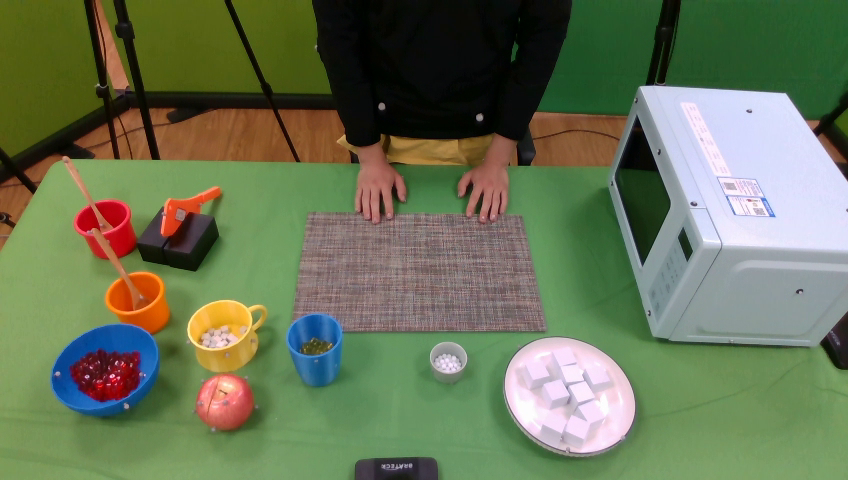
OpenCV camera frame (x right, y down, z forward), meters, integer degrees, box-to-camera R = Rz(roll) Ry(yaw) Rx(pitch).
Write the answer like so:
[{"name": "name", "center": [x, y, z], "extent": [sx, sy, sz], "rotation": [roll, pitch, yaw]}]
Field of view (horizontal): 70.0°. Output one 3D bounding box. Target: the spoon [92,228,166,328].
[{"name": "spoon", "center": [-0.495, 0.063, 1.014], "extent": [0.041, 0.194, 0.021], "rotation": [-34, 13, -31]}]

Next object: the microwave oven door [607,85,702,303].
[{"name": "microwave oven door", "center": [0.423, -0.094, 1.141], "extent": [0.039, 0.245, 0.353], "rotation": [2, 46, -1]}]

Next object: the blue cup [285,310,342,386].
[{"name": "blue cup", "center": [-0.170, 0.179, 0.958], "extent": [0.093, 0.101, 0.092], "rotation": [1, 44, -1]}]

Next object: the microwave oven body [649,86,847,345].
[{"name": "microwave oven body", "center": [0.568, -0.053, 1.118], "extent": [0.326, 0.261, 0.439], "rotation": [2, 45, -1]}]

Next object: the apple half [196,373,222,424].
[{"name": "apple half", "center": [-0.322, 0.239, 0.907], "extent": [0.033, 0.081, 0.081], "rotation": [7, 46, -1]}]

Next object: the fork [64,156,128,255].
[{"name": "fork", "center": [-0.614, -0.064, 1.130], "extent": [0.028, 0.018, 0.207], "rotation": [-29, 97, -17]}]

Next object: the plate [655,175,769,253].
[{"name": "plate", "center": [0.555, -0.046, 1.183], "extent": [0.209, 0.038, 0.208], "rotation": [2, 46, -2]}]

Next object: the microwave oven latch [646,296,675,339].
[{"name": "microwave oven latch", "center": [0.412, 0.134, 1.061], "extent": [0.030, 0.029, 0.078], "rotation": [4, 45, 1]}]

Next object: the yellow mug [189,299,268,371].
[{"name": "yellow mug", "center": [-0.316, 0.148, 1.002], "extent": [0.131, 0.064, 0.099], "rotation": [-32, 56, -32]}]

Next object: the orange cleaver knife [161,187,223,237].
[{"name": "orange cleaver knife", "center": [-0.448, -0.058, 1.180], "extent": [0.012, 0.077, 0.211], "rotation": [13, 17, 6]}]

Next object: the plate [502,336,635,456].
[{"name": "plate", "center": [0.225, 0.248, 0.963], "extent": [0.208, 0.039, 0.206], "rotation": [2, 46, -2]}]

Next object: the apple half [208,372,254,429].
[{"name": "apple half", "center": [-0.283, 0.244, 0.908], "extent": [0.053, 0.075, 0.080], "rotation": [7, 43, -1]}]

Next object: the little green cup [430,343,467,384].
[{"name": "little green cup", "center": [0.039, 0.203, 0.994], "extent": [0.061, 0.039, 0.061], "rotation": [2, 46, -2]}]

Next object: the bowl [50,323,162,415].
[{"name": "bowl", "center": [-0.472, 0.209, 0.924], "extent": [0.151, 0.077, 0.150], "rotation": [3, 45, -2]}]
